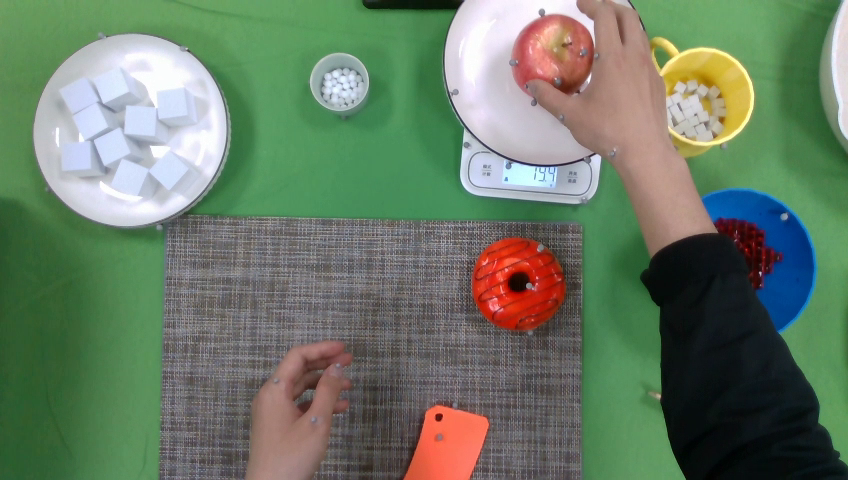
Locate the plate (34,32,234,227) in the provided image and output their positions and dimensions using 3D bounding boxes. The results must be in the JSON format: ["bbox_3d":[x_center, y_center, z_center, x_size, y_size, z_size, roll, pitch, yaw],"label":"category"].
[{"bbox_3d":[-0.305,-0.116,0.650,0.208,0.039,0.207,0,88,1],"label":"plate"}]

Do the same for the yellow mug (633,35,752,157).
[{"bbox_3d":[0.267,-0.155,0.630,0.100,0.064,0.130,-31,87,1],"label":"yellow mug"}]

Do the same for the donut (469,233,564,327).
[{"bbox_3d":[0.095,0.042,0.631,0.099,0.048,0.099,0,88,2],"label":"donut"}]

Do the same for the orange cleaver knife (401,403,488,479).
[{"bbox_3d":[-0.006,0.268,0.636,0.077,0.012,0.211,30,86,-5],"label":"orange cleaver knife"}]

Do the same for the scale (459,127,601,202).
[{"bbox_3d":[0.119,-0.145,0.649,0.148,0.031,0.200,5,88,1],"label":"scale"}]

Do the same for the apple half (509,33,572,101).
[{"bbox_3d":[0.105,-0.158,0.589,0.033,0.081,0.081,-43,87,-5],"label":"apple half"}]

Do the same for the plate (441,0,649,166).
[{"bbox_3d":[0.120,-0.177,0.618,0.209,0.038,0.209,0,88,0],"label":"plate"}]

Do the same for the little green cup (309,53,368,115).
[{"bbox_3d":[-0.089,-0.165,0.649,0.061,0.038,0.061,0,87,1],"label":"little green cup"}]

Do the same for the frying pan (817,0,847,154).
[{"bbox_3d":[0.589,-0.083,0.604,0.307,0.103,0.485,-26,80,1],"label":"frying pan"}]

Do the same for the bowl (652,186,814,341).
[{"bbox_3d":[0.298,0.024,0.617,0.151,0.077,0.151,0,88,1],"label":"bowl"}]

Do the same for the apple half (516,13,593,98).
[{"bbox_3d":[0.133,-0.185,0.592,0.053,0.075,0.080,-43,85,-5],"label":"apple half"}]

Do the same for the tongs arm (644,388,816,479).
[{"bbox_3d":[0.399,0.261,0.631,0.387,0.028,0.028,31,81,2],"label":"tongs arm"}]
